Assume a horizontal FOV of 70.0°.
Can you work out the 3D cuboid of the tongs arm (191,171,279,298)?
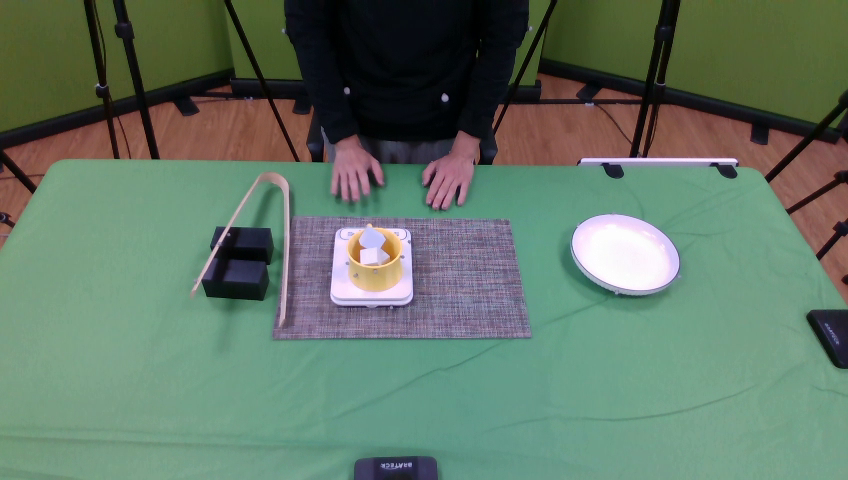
[{"bbox_3d":[-0.344,-0.023,1.133,0.051,0.026,0.382,24,36,-15],"label":"tongs arm"}]

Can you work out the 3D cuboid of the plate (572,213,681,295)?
[{"bbox_3d":[0.392,0.030,1.189,0.208,0.039,0.206,2,46,-2],"label":"plate"}]

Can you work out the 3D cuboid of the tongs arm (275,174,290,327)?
[{"bbox_3d":[-0.273,0.006,1.161,0.028,0.028,0.385,12,41,-23],"label":"tongs arm"}]

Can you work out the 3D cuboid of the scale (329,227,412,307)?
[{"bbox_3d":[-0.099,0.042,1.139,0.149,0.032,0.199,1,46,-4],"label":"scale"}]

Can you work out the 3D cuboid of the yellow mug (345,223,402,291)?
[{"bbox_3d":[-0.092,0.022,1.093,0.100,0.064,0.130,-7,46,-10],"label":"yellow mug"}]
